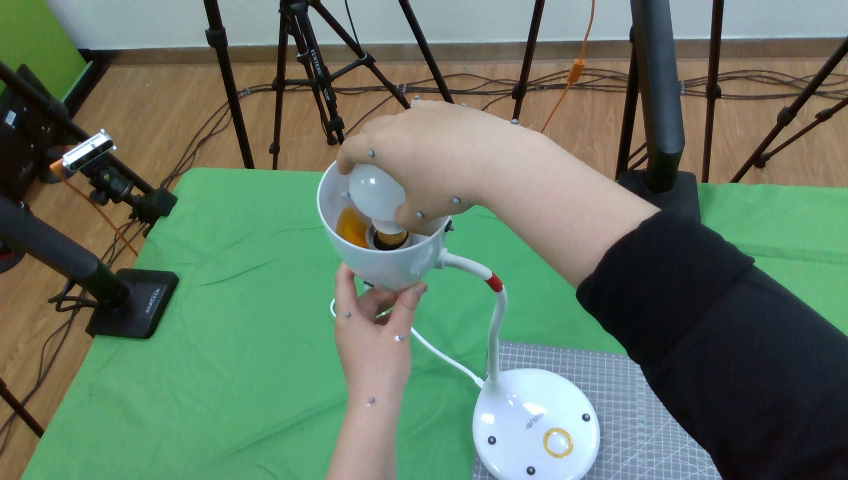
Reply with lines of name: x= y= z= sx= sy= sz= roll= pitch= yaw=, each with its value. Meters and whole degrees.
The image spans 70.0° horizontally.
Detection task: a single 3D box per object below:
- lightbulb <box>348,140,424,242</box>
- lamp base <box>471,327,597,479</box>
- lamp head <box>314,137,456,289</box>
lightbulb: x=-0.030 y=-0.034 z=0.491 sx=0.059 sy=0.108 sz=0.059 roll=1 pitch=56 yaw=-1
lamp base: x=0.119 y=0.183 z=0.722 sx=0.177 sy=0.182 sz=0.160 roll=27 pitch=62 yaw=29
lamp head: x=-0.027 y=-0.010 z=0.526 sx=0.112 sy=0.124 sz=0.111 roll=-3 pitch=57 yaw=5
